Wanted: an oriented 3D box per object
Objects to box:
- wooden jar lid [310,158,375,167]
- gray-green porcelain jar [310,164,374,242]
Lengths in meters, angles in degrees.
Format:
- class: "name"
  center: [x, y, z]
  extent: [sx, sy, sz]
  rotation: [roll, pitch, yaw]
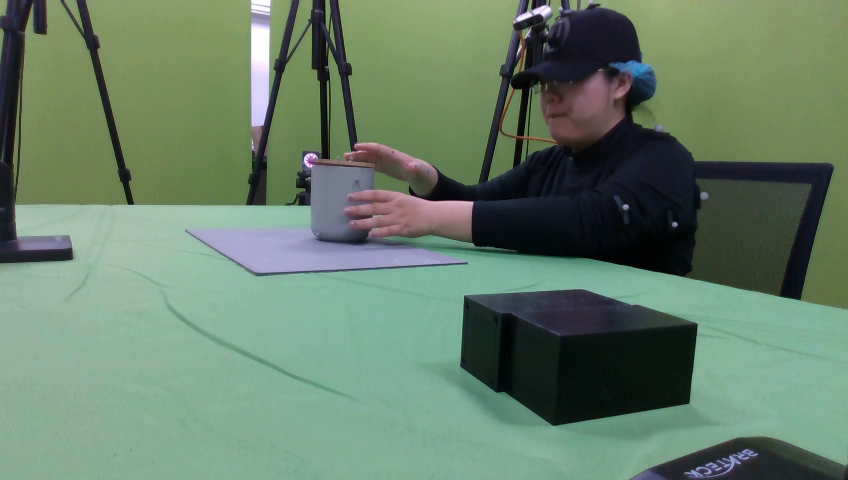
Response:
- class: "wooden jar lid"
  center: [-0.136, -0.125, 1.015]
  extent: [0.108, 0.020, 0.108]
  rotation: [5, 8, 0]
- class: "gray-green porcelain jar"
  center: [-0.139, -0.063, 1.023]
  extent: [0.106, 0.126, 0.106]
  rotation: [3, 8, 0]
